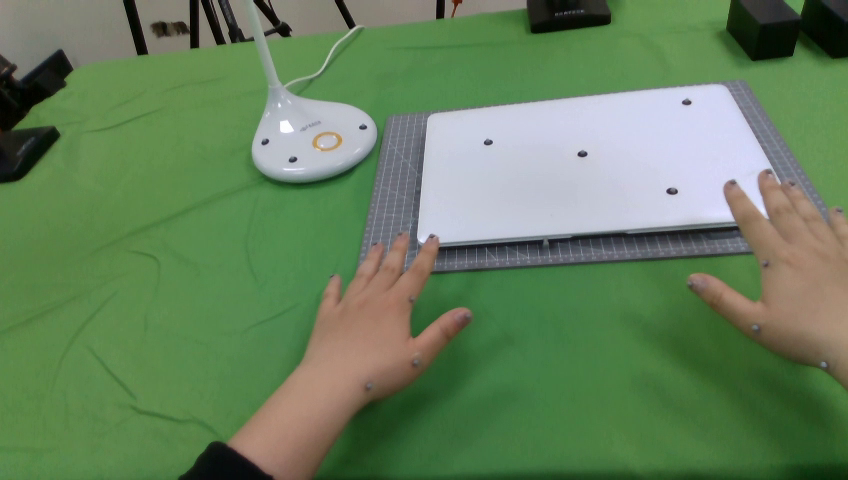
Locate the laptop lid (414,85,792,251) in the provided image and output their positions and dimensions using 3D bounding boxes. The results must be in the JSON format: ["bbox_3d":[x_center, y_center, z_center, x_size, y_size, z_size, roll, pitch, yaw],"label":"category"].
[{"bbox_3d":[0.168,-0.086,0.649,0.356,0.013,0.239,-4,45,9],"label":"laptop lid"}]

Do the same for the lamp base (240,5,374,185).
[{"bbox_3d":[-0.163,-0.182,0.724,0.177,0.182,0.160,26,54,37],"label":"lamp base"}]

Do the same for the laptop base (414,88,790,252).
[{"bbox_3d":[0.170,-0.079,0.659,0.354,0.023,0.233,-5,46,8],"label":"laptop base"}]
